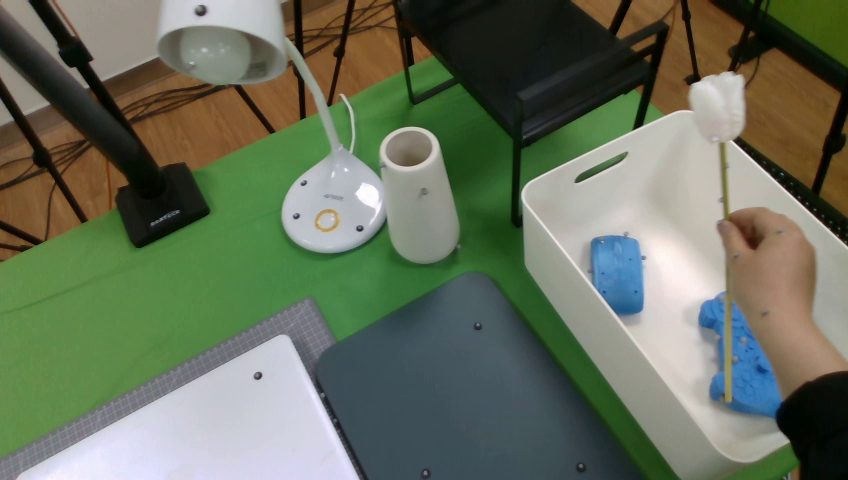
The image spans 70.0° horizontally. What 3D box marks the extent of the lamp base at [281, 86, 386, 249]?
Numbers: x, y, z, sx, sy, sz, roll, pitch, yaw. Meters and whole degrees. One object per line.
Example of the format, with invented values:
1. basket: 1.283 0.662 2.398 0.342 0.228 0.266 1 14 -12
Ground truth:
1. lamp base: -0.138 -0.107 0.836 0.160 0.182 0.177 0 55 6

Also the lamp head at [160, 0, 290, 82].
1. lamp head: -0.177 -0.219 0.554 0.112 0.113 0.122 -2 75 5

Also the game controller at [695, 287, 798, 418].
1. game controller: 0.376 0.124 0.707 0.097 0.052 0.154 2 57 9

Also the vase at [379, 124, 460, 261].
1. vase: -0.008 -0.057 0.779 0.098 0.202 0.097 -4 56 6

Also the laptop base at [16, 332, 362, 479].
1. laptop base: -0.271 0.281 0.697 0.354 0.023 0.233 -28 63 -12

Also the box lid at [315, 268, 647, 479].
1. box lid: 0.054 0.215 0.710 0.263 0.015 0.367 -28 59 -13

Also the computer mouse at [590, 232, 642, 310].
1. computer mouse: 0.248 0.036 0.782 0.062 0.041 0.116 3 53 12

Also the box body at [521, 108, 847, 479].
1. box body: 0.304 0.055 0.696 0.254 0.162 0.360 -26 59 -10

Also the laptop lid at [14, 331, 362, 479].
1. laptop lid: -0.271 0.277 0.686 0.357 0.013 0.239 -27 61 -11

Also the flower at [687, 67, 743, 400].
1. flower: 0.295 0.015 0.590 0.044 0.364 0.038 -17 24 1
